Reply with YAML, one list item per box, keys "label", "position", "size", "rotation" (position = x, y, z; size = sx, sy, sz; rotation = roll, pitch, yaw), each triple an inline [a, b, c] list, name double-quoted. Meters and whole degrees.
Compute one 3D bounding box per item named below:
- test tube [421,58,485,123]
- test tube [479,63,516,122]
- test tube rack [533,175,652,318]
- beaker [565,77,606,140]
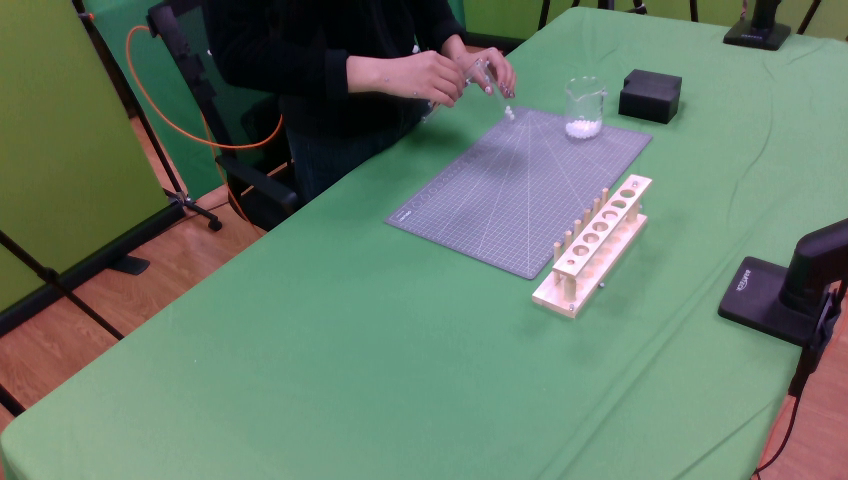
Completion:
- label: "test tube"
  position: [0.049, -0.254, 1.031]
  size: [0.150, 0.017, 0.017]
  rotation: [-46, 48, -6]
- label: "test tube"
  position: [0.136, -0.265, 1.098]
  size: [0.017, 0.151, 0.017]
  rotation: [-16, 55, 24]
- label: "test tube rack"
  position: [0.251, -0.001, 0.889]
  size: [0.066, 0.085, 0.243]
  rotation: [22, 49, 33]
- label: "beaker"
  position: [0.304, -0.247, 1.153]
  size: [0.073, 0.101, 0.084]
  rotation: [15, 47, 27]
